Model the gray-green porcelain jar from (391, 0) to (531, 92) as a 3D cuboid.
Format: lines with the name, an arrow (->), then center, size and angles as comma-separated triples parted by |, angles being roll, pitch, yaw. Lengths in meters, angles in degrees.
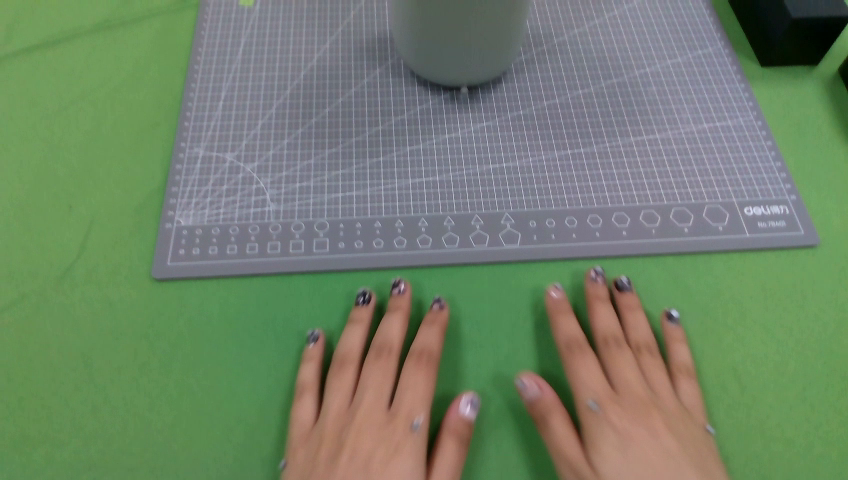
gray-green porcelain jar -> 0.027, -0.184, 0.451 | 0.106, 0.127, 0.105 | 1, 59, -1
